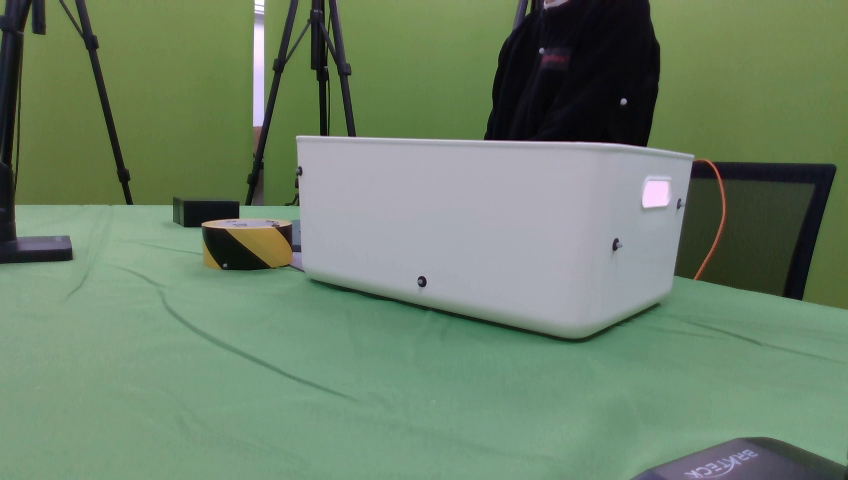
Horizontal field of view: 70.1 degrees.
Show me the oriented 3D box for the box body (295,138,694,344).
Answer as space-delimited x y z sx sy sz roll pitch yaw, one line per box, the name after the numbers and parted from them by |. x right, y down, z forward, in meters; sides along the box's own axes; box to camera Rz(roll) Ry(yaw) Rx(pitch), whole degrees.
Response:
0.065 -0.020 0.653 0.362 0.160 0.255 9 9 37 | box body

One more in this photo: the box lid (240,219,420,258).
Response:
-0.141 -0.007 1.057 0.263 0.015 0.371 4 7 0 | box lid

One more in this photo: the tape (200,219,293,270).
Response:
-0.228 0.004 0.778 0.117 0.052 0.117 1 8 0 | tape
